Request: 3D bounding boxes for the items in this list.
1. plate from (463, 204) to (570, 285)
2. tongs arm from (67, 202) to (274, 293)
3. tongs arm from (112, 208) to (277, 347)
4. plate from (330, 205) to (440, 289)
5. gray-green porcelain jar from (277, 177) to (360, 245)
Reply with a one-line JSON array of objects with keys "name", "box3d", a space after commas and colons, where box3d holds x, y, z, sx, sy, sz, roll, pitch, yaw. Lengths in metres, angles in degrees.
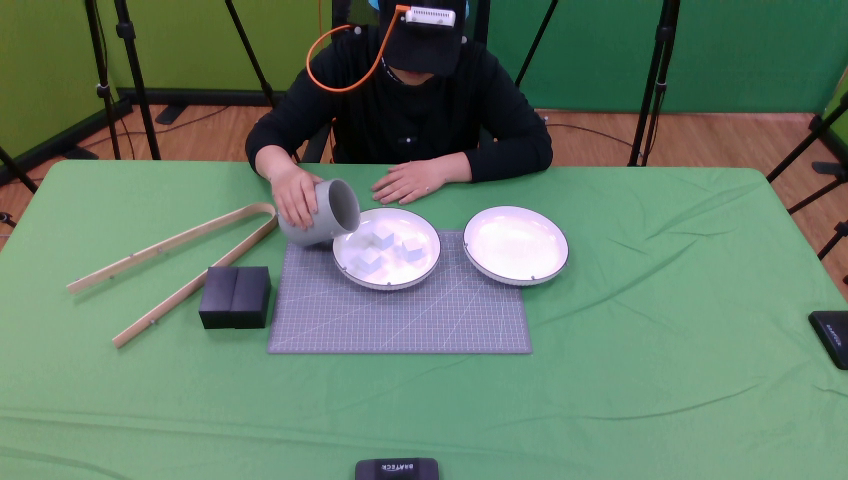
[{"name": "plate", "box3d": [0.178, 0.012, 1.184, 0.209, 0.038, 0.208, 3, 46, -3]}, {"name": "tongs arm", "box3d": [-0.461, 0.013, 1.142, 0.385, 0.026, 0.050, -31, 56, -31]}, {"name": "tongs arm", "box3d": [-0.401, 0.058, 1.108, 0.028, 0.028, 0.387, 26, 49, 23]}, {"name": "plate", "box3d": [-0.074, 0.017, 1.160, 0.208, 0.039, 0.206, 2, 46, -2]}, {"name": "gray-green porcelain jar", "box3d": [-0.201, -0.050, 1.134, 0.126, 0.106, 0.105, -15, 41, 25]}]
